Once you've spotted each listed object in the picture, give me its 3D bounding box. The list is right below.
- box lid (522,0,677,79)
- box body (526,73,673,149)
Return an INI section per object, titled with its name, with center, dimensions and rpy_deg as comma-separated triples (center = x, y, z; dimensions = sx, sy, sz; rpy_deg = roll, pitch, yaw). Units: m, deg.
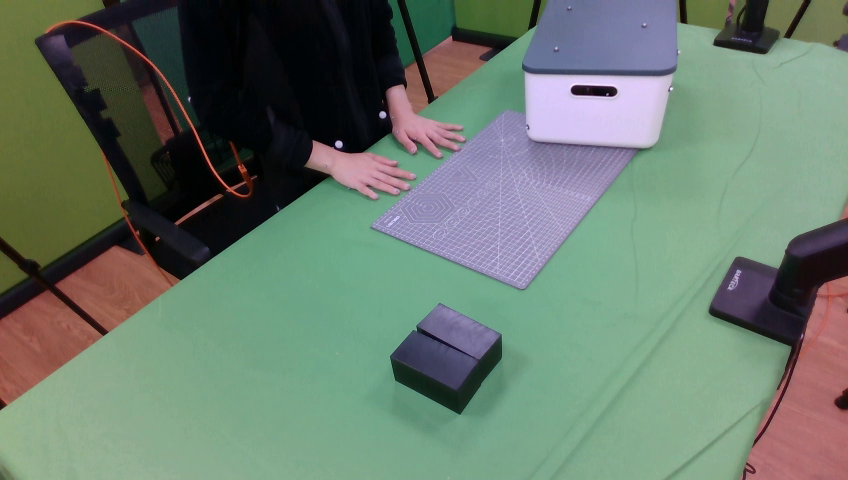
[box lid]
center = 0.346, -0.397, 1.163
dimensions = 0.262, 0.015, 0.371
rpy_deg = 6, 41, 17
[box body]
center = 0.356, -0.342, 1.212
dimensions = 0.253, 0.161, 0.363
rpy_deg = 7, 42, 17
